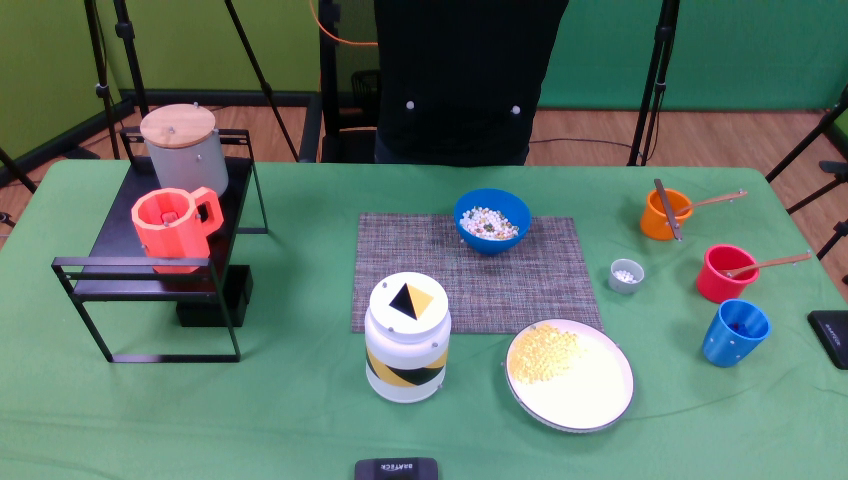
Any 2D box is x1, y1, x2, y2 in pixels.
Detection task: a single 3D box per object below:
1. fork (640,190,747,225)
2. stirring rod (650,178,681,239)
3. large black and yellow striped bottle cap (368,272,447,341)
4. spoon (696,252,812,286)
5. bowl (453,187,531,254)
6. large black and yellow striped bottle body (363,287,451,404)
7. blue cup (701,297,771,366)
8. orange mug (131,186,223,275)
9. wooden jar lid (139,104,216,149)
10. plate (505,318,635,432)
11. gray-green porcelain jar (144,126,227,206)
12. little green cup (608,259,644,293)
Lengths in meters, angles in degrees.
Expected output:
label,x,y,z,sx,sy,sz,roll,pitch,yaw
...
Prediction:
label,x,y,z,sx,sy,sz,roll,pitch,yaw
fork,0.533,-0.064,1.211,0.207,0.019,0.028,-22,28,39
stirring rod,0.479,-0.065,1.204,0.014,0.006,0.175,3,46,-4
large black and yellow striped bottle cap,-0.023,0.093,0.875,0.115,0.019,0.114,3,46,-3
spoon,0.600,0.051,1.110,0.193,0.022,0.041,-22,33,38
bowl,0.128,-0.025,1.187,0.151,0.077,0.150,2,46,-2
large black and yellow striped bottle body,-0.027,0.153,0.935,0.131,0.185,0.130,2,46,-2
blue cup,0.519,0.162,1.025,0.093,0.101,0.092,3,45,-3
orange mug,-0.355,-0.023,0.888,0.083,0.101,0.126,31,56,24
wooden jar lid,-0.372,-0.169,0.920,0.108,0.021,0.107,4,44,-4
plate,0.235,0.221,0.991,0.209,0.038,0.208,2,46,-2
gray-green porcelain jar,-0.375,-0.125,0.967,0.106,0.127,0.105,2,46,-2
little green cup,0.379,0.070,1.147,0.061,0.039,0.061,3,45,-2
